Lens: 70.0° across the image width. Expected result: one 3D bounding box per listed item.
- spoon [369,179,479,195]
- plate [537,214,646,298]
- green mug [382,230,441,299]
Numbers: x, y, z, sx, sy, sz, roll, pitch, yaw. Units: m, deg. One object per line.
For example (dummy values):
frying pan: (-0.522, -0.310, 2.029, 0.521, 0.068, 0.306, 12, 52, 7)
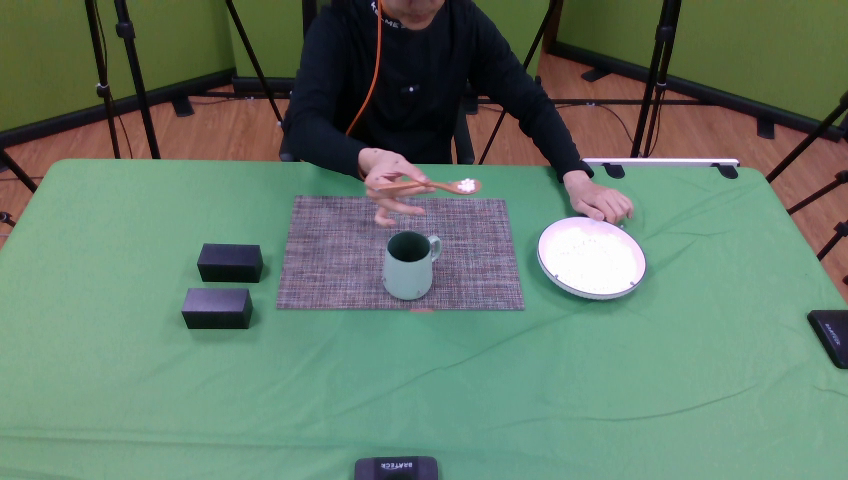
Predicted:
spoon: (0.003, -0.088, 0.970, 0.194, 0.022, 0.041, 0, 37, -28)
plate: (0.321, 0.035, 1.176, 0.209, 0.038, 0.208, 2, 47, -2)
green mug: (-0.017, 0.037, 1.097, 0.125, 0.105, 0.092, -34, 57, -31)
